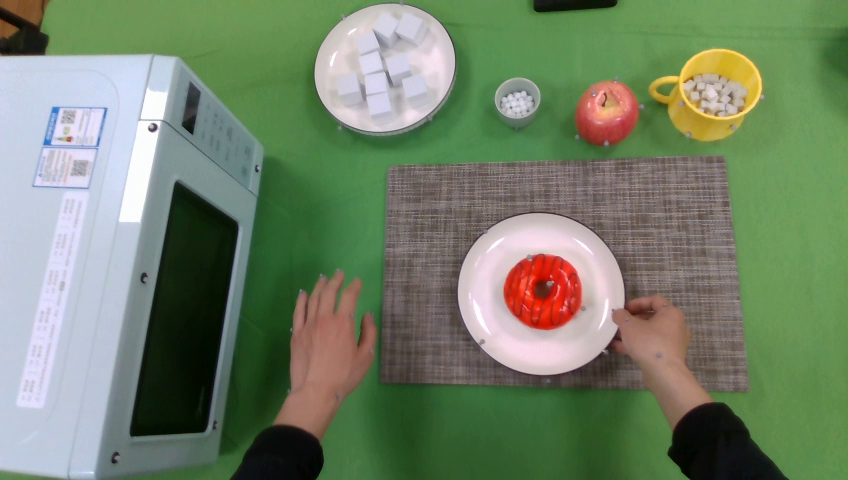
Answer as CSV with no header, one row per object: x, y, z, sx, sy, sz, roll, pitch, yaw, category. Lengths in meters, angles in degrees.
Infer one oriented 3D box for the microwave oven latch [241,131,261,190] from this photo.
-0.248,-0.111,0.850,0.030,0.030,0.079,4,77,8,microwave oven latch

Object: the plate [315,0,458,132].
-0.053,-0.248,0.877,0.207,0.039,0.206,-2,75,8,plate

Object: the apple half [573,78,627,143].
0.225,-0.163,0.799,0.053,0.075,0.080,-27,77,5,apple half

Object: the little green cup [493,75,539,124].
0.128,-0.192,0.838,0.061,0.039,0.061,-2,75,8,little green cup

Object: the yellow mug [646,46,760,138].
0.358,-0.194,0.792,0.130,0.064,0.099,10,77,11,yellow mug

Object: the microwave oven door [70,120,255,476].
-0.283,0.074,0.701,0.039,0.245,0.354,2,76,9,microwave oven door

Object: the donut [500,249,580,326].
0.144,0.059,0.755,0.099,0.048,0.098,-2,77,9,donut

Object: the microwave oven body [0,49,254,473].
-0.422,0.028,0.737,0.325,0.262,0.439,2,77,8,microwave oven body

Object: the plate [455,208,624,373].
0.143,0.063,0.766,0.209,0.038,0.208,-2,76,8,plate

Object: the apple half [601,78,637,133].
0.260,-0.181,0.797,0.033,0.082,0.081,-28,73,5,apple half
